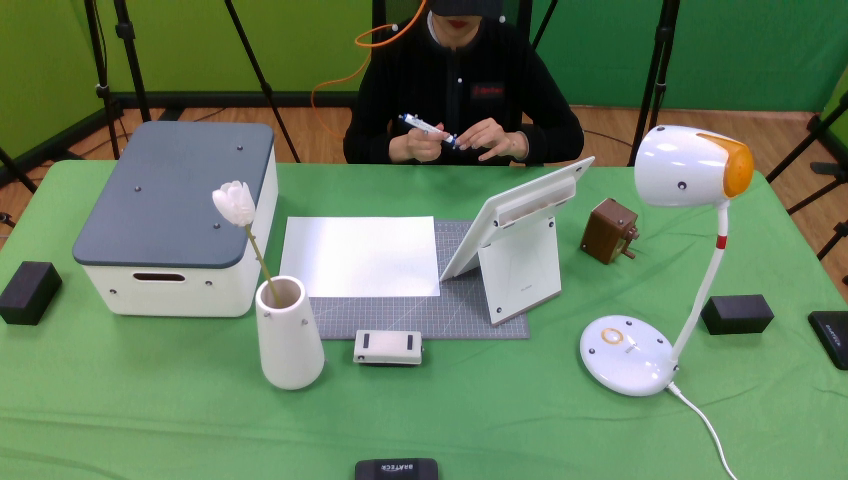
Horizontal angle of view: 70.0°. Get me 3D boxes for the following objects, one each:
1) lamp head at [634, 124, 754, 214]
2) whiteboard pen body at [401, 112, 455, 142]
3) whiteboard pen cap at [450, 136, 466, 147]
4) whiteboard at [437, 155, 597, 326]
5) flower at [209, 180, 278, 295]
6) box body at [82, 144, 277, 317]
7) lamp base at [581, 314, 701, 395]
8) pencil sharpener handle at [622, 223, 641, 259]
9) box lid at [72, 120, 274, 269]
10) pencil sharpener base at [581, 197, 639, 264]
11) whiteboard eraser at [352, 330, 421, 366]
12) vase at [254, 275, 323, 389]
[{"bbox_3d":[0.351,-0.089,0.776,0.112,0.113,0.122,-30,30,-28],"label":"lamp head"},{"bbox_3d":[0.019,-0.229,1.257,0.141,0.017,0.017,23,44,-15],"label":"whiteboard pen body"},{"bbox_3d":[0.071,-0.208,1.273,0.033,0.018,0.018,16,47,4],"label":"whiteboard pen cap"},{"bbox_3d":[0.180,0.023,1.029,0.217,0.306,0.143,-21,71,-23],"label":"whiteboard"},{"bbox_3d":[-0.217,0.075,0.871,0.044,0.363,0.038,-29,36,-19],"label":"flower"},{"bbox_3d":[-0.421,-0.041,1.108,0.254,0.161,0.361,2,46,-3],"label":"box body"},{"bbox_3d":[0.361,0.144,0.972,0.178,0.181,0.160,34,53,23],"label":"lamp base"},{"bbox_3d":[0.397,0.002,1.146,0.030,0.068,0.036,37,45,27],"label":"pencil sharpener handle"},{"bbox_3d":[-0.417,-0.094,1.056,0.263,0.015,0.369,1,47,-3],"label":"box lid"},{"bbox_3d":[0.362,-0.017,1.179,0.076,0.107,0.061,37,54,27],"label":"pencil sharpener base"},{"bbox_3d":[-0.061,0.180,1.005,0.113,0.042,0.055,3,48,-3],"label":"whiteboard eraser"},{"bbox_3d":[-0.209,0.143,0.921,0.098,0.201,0.097,1,46,-1],"label":"vase"}]
